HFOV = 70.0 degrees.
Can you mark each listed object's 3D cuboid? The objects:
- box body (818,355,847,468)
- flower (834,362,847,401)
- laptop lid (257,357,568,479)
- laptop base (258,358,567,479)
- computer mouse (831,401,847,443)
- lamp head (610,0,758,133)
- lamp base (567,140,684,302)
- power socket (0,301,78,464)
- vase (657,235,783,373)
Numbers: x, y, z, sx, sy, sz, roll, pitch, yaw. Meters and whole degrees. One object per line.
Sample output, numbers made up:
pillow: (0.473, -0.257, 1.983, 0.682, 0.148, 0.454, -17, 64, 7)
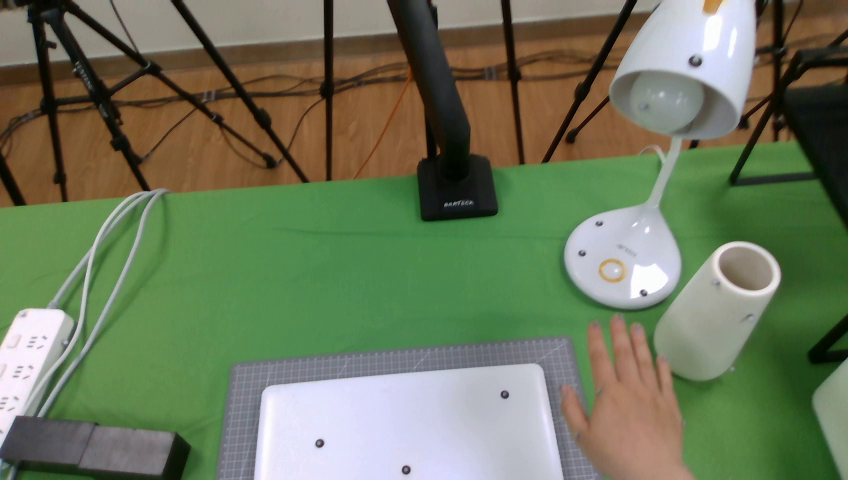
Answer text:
box body: (0.596, 0.264, 0.586, 0.254, 0.162, 0.360, -4, 55, 1)
flower: (0.521, 0.299, 0.617, 0.044, 0.038, 0.358, 15, 54, -43)
laptop lid: (-0.016, 0.257, 0.694, 0.357, 0.013, 0.239, -3, 57, 1)
laptop base: (-0.015, 0.262, 0.706, 0.354, 0.023, 0.233, -5, 59, -1)
computer mouse: (0.518, 0.231, 0.680, 0.063, 0.041, 0.116, -10, 47, 1)
lamp head: (0.235, -0.168, 0.528, 0.112, 0.113, 0.122, 21, 77, 17)
lamp base: (0.286, -0.037, 0.800, 0.159, 0.182, 0.178, 24, 57, 19)
power socket: (-0.520, 0.178, 0.779, 0.072, 0.033, 0.224, 2, 55, 3)
vase: (0.340, 0.077, 0.706, 0.098, 0.202, 0.097, -2, 54, 4)
